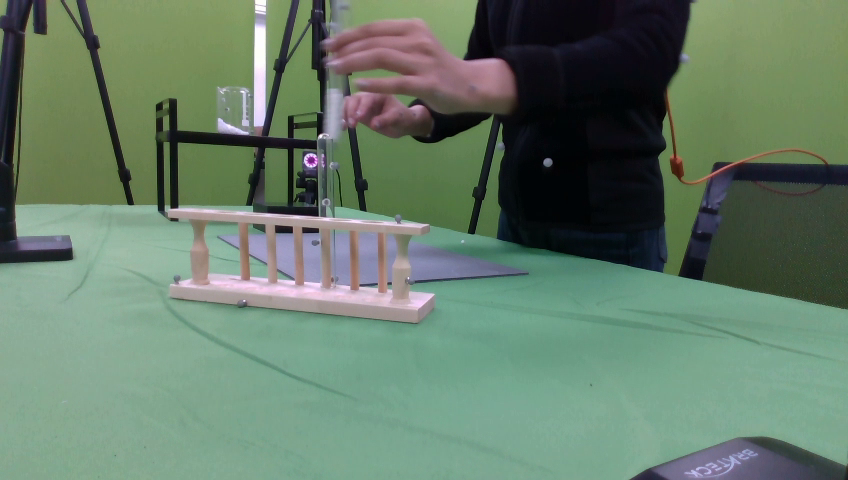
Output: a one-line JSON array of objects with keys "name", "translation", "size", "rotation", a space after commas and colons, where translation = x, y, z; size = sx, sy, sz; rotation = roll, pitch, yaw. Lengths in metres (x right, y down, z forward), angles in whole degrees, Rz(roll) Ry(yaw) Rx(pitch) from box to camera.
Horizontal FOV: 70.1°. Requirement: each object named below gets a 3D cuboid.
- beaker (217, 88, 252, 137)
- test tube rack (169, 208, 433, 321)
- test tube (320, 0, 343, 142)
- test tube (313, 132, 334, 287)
[{"name": "beaker", "translation": [-0.412, -0.276, 1.309], "size": [0.074, 0.100, 0.084], "rotation": [4, 8, 16]}, {"name": "test tube rack", "translation": [-0.115, 0.018, 0.574], "size": [0.242, 0.085, 0.067], "rotation": [4, 8, 13]}, {"name": "test tube", "translation": [-0.092, -0.173, 0.600], "size": [0.017, 0.150, 0.017], "rotation": [5, 15, -1]}, {"name": "test tube", "translation": [-0.096, -0.027, 0.581], "size": [0.017, 0.150, 0.017], "rotation": [0, 9, 0]}]
